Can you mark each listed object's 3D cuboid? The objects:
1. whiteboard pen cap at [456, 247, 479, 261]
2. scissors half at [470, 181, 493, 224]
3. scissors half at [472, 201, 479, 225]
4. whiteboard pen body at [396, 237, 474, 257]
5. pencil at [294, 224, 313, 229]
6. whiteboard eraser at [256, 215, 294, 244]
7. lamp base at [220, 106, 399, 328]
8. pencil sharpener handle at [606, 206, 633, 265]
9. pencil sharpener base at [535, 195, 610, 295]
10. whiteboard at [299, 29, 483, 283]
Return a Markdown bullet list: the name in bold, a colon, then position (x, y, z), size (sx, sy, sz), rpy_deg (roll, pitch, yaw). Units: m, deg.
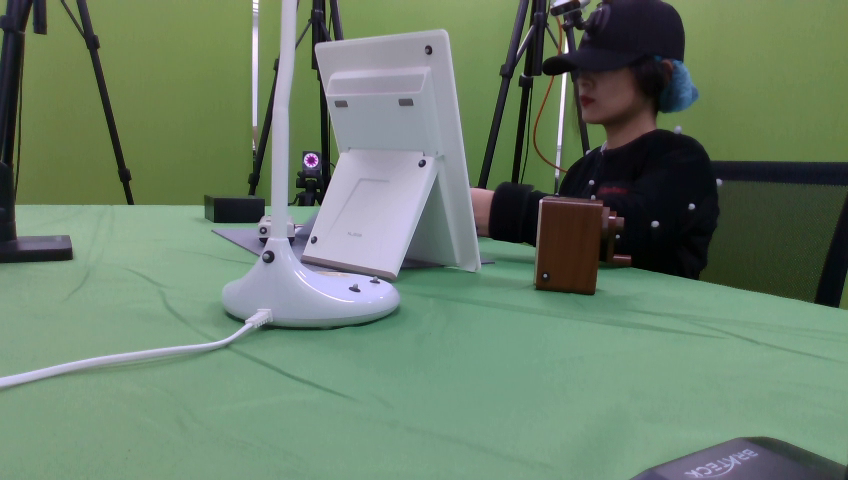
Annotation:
- **whiteboard pen cap**: position (0.060, 0.020, 0.851), size (0.033, 0.018, 0.018), rpy_deg (10, 10, 37)
- **scissors half**: position (0.089, -0.112, 1.165), size (0.040, 0.175, 0.013), rpy_deg (-22, -9, -20)
- **scissors half**: position (0.071, -0.107, 1.160), size (0.040, 0.175, 0.013), rpy_deg (-8, -13, -12)
- **whiteboard pen body**: position (0.014, 0.012, 0.886), size (0.140, 0.017, 0.017), rpy_deg (9, 10, 38)
- **pencil**: position (-0.220, -0.028, 1.210), size (0.195, 0.012, 0.012), rpy_deg (-5, 10, -34)
- **whiteboard eraser**: position (-0.232, -0.016, 0.951), size (0.056, 0.042, 0.112), rpy_deg (2, 7, -12)
- **lamp base**: position (-0.101, -0.023, 0.531), size (0.160, 0.180, 0.179), rpy_deg (4, 10, 10)
- **pencil sharpener handle**: position (0.223, -0.004, 0.683), size (0.030, 0.068, 0.036), rpy_deg (5, 20, 17)
- **pencil sharpener base**: position (0.172, 0.005, 0.696), size (0.076, 0.107, 0.061), rpy_deg (5, 8, 16)
- **whiteboard**: position (-0.074, -0.082, 0.742), size (0.216, 0.305, 0.144), rpy_deg (9, 30, 38)
